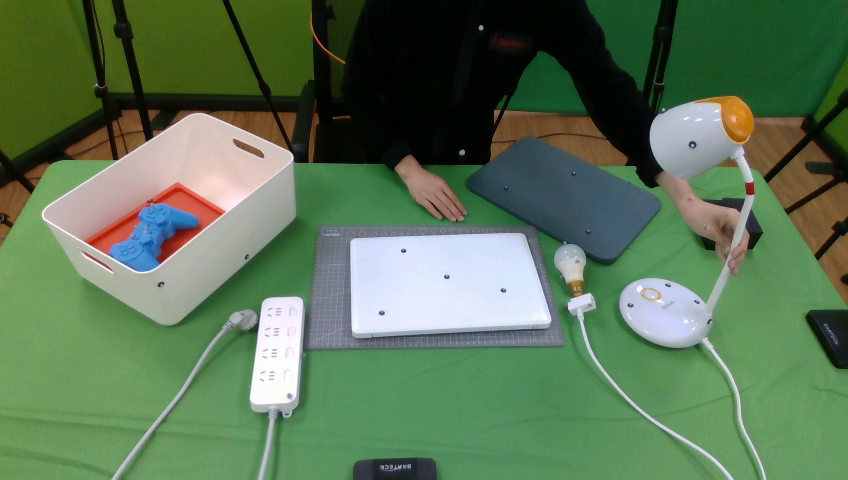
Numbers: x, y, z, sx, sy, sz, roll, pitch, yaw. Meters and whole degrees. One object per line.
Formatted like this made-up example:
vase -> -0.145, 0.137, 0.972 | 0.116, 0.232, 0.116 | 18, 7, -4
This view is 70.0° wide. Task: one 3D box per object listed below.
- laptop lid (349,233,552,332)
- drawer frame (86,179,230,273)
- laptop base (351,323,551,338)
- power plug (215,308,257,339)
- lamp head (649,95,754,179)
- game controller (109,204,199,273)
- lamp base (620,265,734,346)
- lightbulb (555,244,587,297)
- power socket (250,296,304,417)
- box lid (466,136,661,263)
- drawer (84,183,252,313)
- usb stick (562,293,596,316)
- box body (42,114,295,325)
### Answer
laptop lid -> 0.040, 0.070, 1.119 | 0.357, 0.013, 0.240 | -1, 44, -5
drawer frame -> -0.453, 0.010, 1.100 | 0.201, 0.083, 0.213 | 28, 54, 23
laptop base -> 0.040, 0.081, 1.126 | 0.355, 0.023, 0.234 | -2, 43, -6
power plug -> -0.316, 0.143, 1.024 | 0.072, 0.053, 0.035 | -33, 58, -8
lamp head -> 0.413, -0.154, 0.883 | 0.113, 0.122, 0.112 | 4, 82, -27
game controller -> -0.467, -0.005, 1.044 | 0.097, 0.052, 0.154 | 7, 45, 11
lamp base -> 0.449, 0.078, 1.043 | 0.160, 0.181, 0.178 | -33, 56, -32
lightbulb -> 0.282, 0.057, 1.146 | 0.059, 0.060, 0.107 | -2, 62, -6
power socket -> -0.239, 0.182, 0.996 | 0.072, 0.033, 0.225 | -2, 47, -5
box lid -> 0.306, -0.102, 1.327 | 0.370, 0.015, 0.263 | 32, 51, 25
drawer -> -0.457, 0.008, 1.099 | 0.194, 0.073, 0.211 | 29, 49, 21
usb stick -> 0.278, 0.118, 1.091 | 0.059, 0.021, 0.027 | -22, 35, 30
box body -> -0.437, -0.046, 1.110 | 0.253, 0.161, 0.363 | 24, 49, 19
